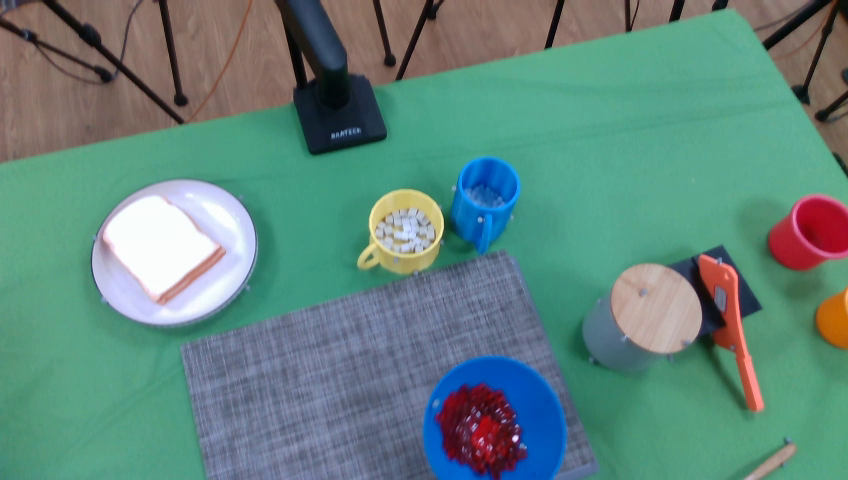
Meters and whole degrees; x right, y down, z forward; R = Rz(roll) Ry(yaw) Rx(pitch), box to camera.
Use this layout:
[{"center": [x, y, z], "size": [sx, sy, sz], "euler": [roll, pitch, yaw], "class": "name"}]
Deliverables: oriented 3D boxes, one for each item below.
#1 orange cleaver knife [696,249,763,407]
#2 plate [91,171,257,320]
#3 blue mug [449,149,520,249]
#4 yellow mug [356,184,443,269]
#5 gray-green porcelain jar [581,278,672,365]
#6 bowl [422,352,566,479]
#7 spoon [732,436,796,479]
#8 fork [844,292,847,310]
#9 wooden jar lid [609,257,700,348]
[{"center": [0.397, 0.113, 0.792], "size": [0.012, 0.077, 0.211], "euler": [-18, 97, -11], "class": "orange cleaver knife"}, {"center": [-0.324, 0.008, 0.802], "size": [0.208, 0.039, 0.206], "euler": [2, 68, -4], "class": "plate"}, {"center": [0.079, -0.046, 0.820], "size": [0.082, 0.106, 0.115], "euler": [3, 67, -3], "class": "blue mug"}, {"center": [-0.038, -0.009, 0.816], "size": [0.131, 0.064, 0.099], "euler": [-37, 74, -16], "class": "yellow mug"}, {"center": [0.263, 0.098, 0.764], "size": [0.106, 0.127, 0.105], "euler": [2, 67, -4], "class": "gray-green porcelain jar"}, {"center": [0.071, 0.203, 0.662], "size": [0.151, 0.077, 0.150], "euler": [1, 70, -4], "class": "bowl"}, {"center": [0.394, 0.295, 0.749], "size": [0.194, 0.022, 0.041], "euler": [-26, 54, -14], "class": "spoon"}, {"center": [0.563, 0.110, 0.770], "size": [0.028, 0.018, 0.207], "euler": [45, 27, 7], "class": "fork"}, {"center": [0.266, 0.073, 0.706], "size": [0.108, 0.021, 0.107], "euler": [3, 69, -6], "class": "wooden jar lid"}]
